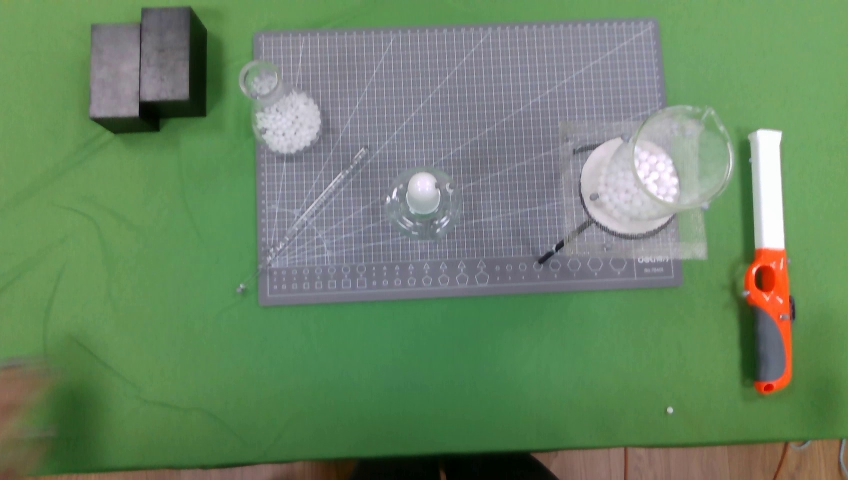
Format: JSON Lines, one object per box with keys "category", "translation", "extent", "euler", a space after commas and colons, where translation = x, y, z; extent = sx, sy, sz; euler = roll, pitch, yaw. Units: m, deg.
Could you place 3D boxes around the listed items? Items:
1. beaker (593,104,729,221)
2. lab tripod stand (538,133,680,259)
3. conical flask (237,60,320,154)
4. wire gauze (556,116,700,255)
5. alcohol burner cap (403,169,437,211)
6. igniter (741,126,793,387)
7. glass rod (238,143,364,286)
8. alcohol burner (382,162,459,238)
{"category": "beaker", "translation": [0.181, -0.057, 0.477], "extent": [0.074, 0.100, 0.084], "euler": [33, 84, 2]}
{"category": "lab tripod stand", "translation": [0.176, -0.037, 0.589], "extent": [0.148, 0.131, 0.148], "euler": [0, 85, -1]}
{"category": "conical flask", "translation": [-0.149, -0.136, 0.598], "extent": [0.075, 0.122, 0.075], "euler": [0, 82, -1]}
{"category": "wire gauze", "translation": [0.178, -0.048, 0.525], "extent": [0.125, 0.011, 0.121], "euler": [0, 86, -3]}
{"category": "alcohol burner cap", "translation": [-0.003, -0.049, 0.560], "extent": [0.034, 0.048, 0.033], "euler": [0, 76, -1]}
{"category": "igniter", "translation": [0.362, 0.016, 0.644], "extent": [0.057, 0.025, 0.275], "euler": [3, 83, -12]}
{"category": "glass rod", "translation": [-0.130, -0.029, 0.643], "extent": [0.008, 0.008, 0.199], "euler": [40, 84, 3]}
{"category": "alcohol burner", "translation": [-0.004, -0.043, 0.596], "extent": [0.078, 0.119, 0.077], "euler": [0, 83, 1]}
